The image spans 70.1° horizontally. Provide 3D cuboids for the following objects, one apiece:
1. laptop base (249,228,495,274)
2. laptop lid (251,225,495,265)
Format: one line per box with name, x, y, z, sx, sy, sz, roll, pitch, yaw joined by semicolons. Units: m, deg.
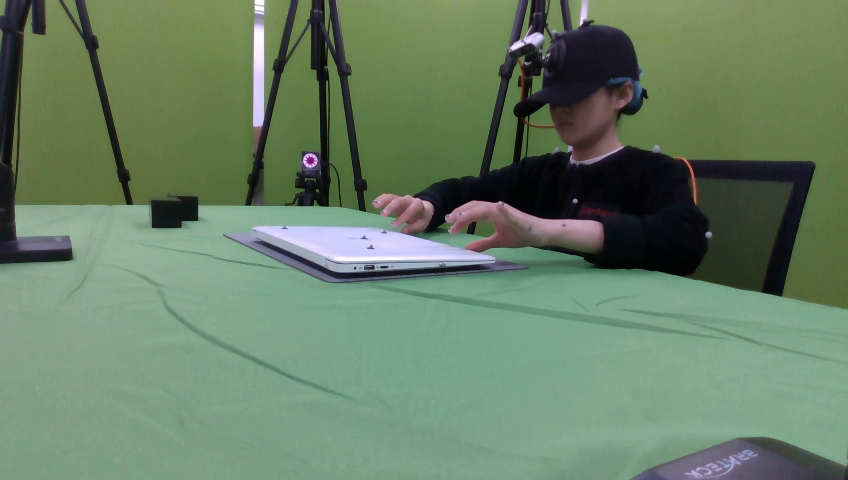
laptop base;-0.093;0.015;0.884;0.237;0.023;0.352;3;6;-32
laptop lid;-0.090;0.004;0.883;0.243;0.013;0.355;1;7;-31
